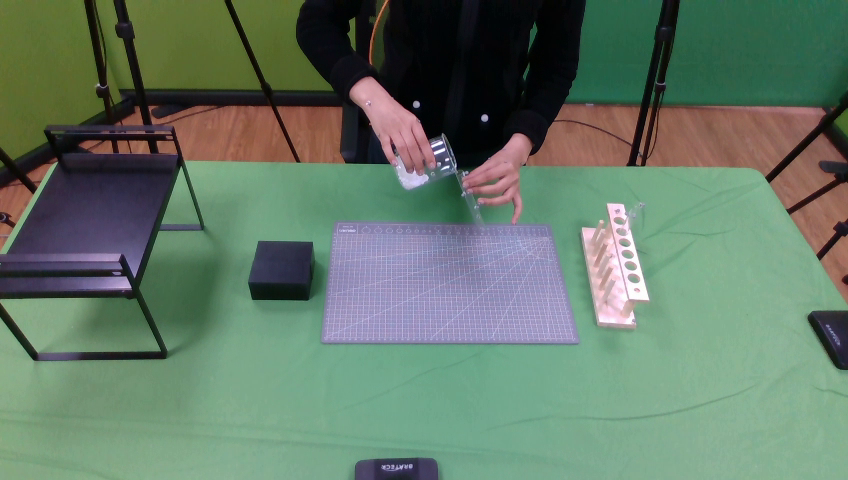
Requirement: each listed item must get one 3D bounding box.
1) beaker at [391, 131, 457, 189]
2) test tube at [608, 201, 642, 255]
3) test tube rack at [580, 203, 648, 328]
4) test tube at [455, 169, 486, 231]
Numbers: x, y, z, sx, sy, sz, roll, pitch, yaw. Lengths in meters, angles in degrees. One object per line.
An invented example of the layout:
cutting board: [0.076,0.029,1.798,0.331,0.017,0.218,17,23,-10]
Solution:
beaker: [0.001,-0.134,1.055,0.100,0.084,0.073,-19,43,10]
test tube: [0.373,-0.019,1.133,0.017,0.151,0.017,3,53,-4]
test tube rack: [0.352,0.041,1.142,0.067,0.085,0.241,4,46,0]
test tube: [0.088,-0.071,1.120,0.017,0.151,0.017,-15,41,14]
